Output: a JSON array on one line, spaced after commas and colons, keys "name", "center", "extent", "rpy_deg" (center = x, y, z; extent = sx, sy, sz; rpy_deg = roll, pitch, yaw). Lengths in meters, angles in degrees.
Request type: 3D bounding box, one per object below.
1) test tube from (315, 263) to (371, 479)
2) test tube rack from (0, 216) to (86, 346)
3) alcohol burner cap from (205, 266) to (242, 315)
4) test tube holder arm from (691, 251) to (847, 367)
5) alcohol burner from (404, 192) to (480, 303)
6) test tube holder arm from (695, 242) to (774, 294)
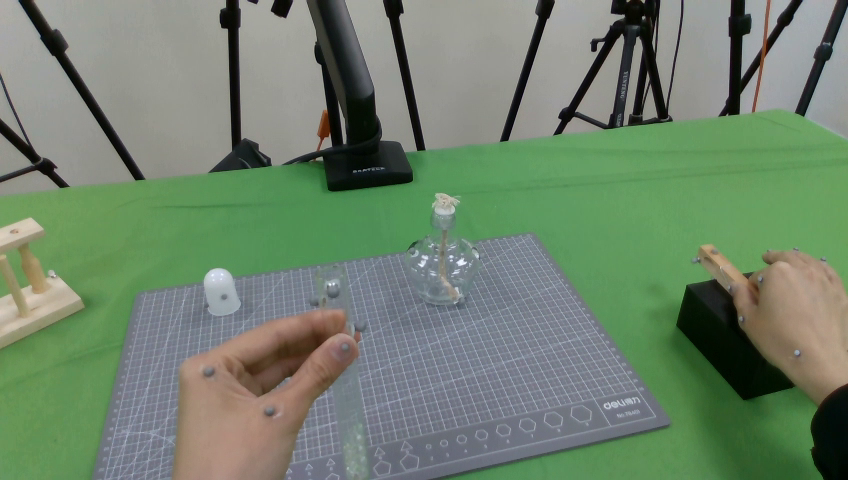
[{"name": "test tube", "center": [-0.044, 0.080, 0.338], "extent": [0.017, 0.151, 0.017], "rpy_deg": [-2, 29, 2]}, {"name": "test tube rack", "center": [-0.457, 0.072, 0.551], "extent": [0.066, 0.086, 0.242], "rpy_deg": [27, 43, 34]}, {"name": "alcohol burner cap", "center": [-0.205, 0.049, 0.612], "extent": [0.034, 0.048, 0.033], "rpy_deg": [-1, 34, 1]}, {"name": "test tube holder arm", "center": [0.296, 0.053, 0.524], "extent": [0.015, 0.013, 0.176], "rpy_deg": [2, 27, -20]}, {"name": "alcohol burner", "center": [0.019, 0.004, 0.608], "extent": [0.078, 0.120, 0.077], "rpy_deg": [1, 34, 0]}, {"name": "test tube holder arm", "center": [0.284, 0.027, 0.559], "extent": [0.015, 0.010, 0.087], "rpy_deg": [2, 29, -20]}]
